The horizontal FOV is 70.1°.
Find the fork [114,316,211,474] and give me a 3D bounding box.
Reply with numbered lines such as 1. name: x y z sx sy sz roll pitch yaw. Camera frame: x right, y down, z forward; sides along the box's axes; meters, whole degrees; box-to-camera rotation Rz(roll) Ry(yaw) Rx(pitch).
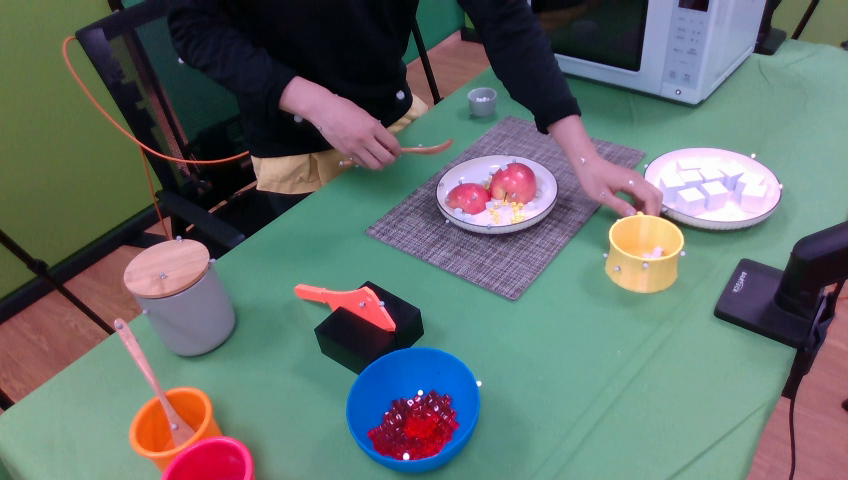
1. fork: -0.309 0.179 0.708 0.028 0.018 0.207 -30 89 -25

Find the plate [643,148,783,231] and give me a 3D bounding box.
1. plate: 0.465 -0.080 0.986 0.207 0.039 0.206 -4 41 4

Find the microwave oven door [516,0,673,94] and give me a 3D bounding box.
1. microwave oven door: 0.344 -0.459 1.257 0.353 0.245 0.039 26 52 33

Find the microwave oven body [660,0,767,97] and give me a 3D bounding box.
1. microwave oven body: 0.474 -0.517 1.314 0.438 0.261 0.327 26 51 34

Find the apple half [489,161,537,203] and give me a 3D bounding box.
1. apple half: 0.154 -0.106 1.030 0.080 0.053 0.075 22 46 30

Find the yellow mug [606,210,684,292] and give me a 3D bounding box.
1. yellow mug: 0.318 0.007 0.883 0.100 0.064 0.130 1 41 8

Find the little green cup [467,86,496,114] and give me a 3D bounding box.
1. little green cup: 0.123 -0.297 1.285 0.061 0.039 0.061 -5 42 5

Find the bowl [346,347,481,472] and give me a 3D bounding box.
1. bowl: -0.008 0.205 0.691 0.151 0.077 0.150 -4 40 4

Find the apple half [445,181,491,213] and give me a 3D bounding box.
1. apple half: 0.076 -0.083 1.029 0.081 0.033 0.081 -2 41 2

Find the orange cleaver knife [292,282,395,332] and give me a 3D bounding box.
1. orange cleaver knife: -0.116 0.091 0.835 0.209 0.077 0.012 2 32 48

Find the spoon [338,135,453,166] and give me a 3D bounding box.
1. spoon: -0.043 -0.142 0.959 0.194 0.021 0.041 -11 3 -15

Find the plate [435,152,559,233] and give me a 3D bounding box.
1. plate: 0.124 -0.078 1.026 0.209 0.038 0.208 -4 40 4

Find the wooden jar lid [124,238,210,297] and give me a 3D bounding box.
1. wooden jar lid: -0.335 0.039 0.794 0.108 0.021 0.108 -2 40 2

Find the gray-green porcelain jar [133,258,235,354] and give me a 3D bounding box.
1. gray-green porcelain jar: -0.327 0.086 0.836 0.106 0.127 0.105 -4 41 4

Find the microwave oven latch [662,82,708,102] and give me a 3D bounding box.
1. microwave oven latch: 0.518 -0.298 1.203 0.078 0.029 0.030 28 53 35
